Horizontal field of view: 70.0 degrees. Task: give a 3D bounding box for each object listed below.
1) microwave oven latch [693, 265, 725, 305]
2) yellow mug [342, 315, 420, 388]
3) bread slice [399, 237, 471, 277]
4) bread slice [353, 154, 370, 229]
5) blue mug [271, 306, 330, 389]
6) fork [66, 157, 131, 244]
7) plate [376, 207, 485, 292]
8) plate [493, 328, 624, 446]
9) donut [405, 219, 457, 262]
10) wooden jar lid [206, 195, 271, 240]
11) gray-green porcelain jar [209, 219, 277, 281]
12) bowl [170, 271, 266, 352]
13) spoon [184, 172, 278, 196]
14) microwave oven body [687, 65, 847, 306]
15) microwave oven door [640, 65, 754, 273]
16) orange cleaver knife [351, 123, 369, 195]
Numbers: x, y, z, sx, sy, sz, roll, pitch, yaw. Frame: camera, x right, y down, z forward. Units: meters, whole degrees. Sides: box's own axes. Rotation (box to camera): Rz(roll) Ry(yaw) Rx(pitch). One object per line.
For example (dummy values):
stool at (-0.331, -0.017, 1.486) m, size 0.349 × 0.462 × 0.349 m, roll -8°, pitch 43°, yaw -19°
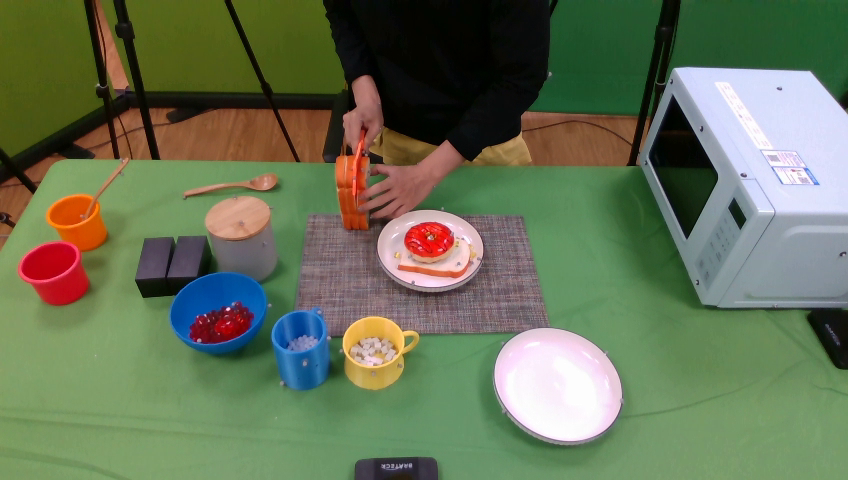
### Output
microwave oven latch at (0.523, 0.081, 1.115) m, size 0.030 × 0.029 × 0.078 m, roll 2°, pitch 46°, yaw -1°
yellow mug at (-0.068, 0.177, 0.990) m, size 0.131 × 0.064 × 0.099 m, roll -15°, pitch 50°, yaw -19°
bread slice at (0.025, 0.025, 1.161) m, size 0.131 × 0.019 × 0.104 m, roll 7°, pitch 47°, yaw 7°
bread slice at (-0.124, -0.102, 1.208) m, size 0.018 × 0.135 × 0.106 m, roll 7°, pitch 47°, yaw -4°
blue mug at (-0.188, 0.163, 0.969) m, size 0.082 × 0.106 × 0.116 m, roll 15°, pitch 47°, yaw 10°
fork at (-0.608, -0.074, 1.132) m, size 0.207 × 0.019 × 0.028 m, roll -52°, pitch 48°, yaw 10°
plate at (0.012, 0.021, 1.159) m, size 0.209 × 0.038 × 0.208 m, roll 2°, pitch 47°, yaw -2°
plate at (0.213, 0.236, 0.974) m, size 0.208 × 0.039 × 0.206 m, roll 2°, pitch 46°, yaw -2°
donut at (0.012, -0.001, 1.141) m, size 0.099 × 0.048 × 0.098 m, roll 0°, pitch 44°, yaw 0°
wooden jar lid at (-0.319, -0.036, 1.046) m, size 0.108 × 0.021 × 0.107 m, roll 1°, pitch 44°, yaw 0°
gray-green porcelain jar at (-0.323, 0.007, 1.092) m, size 0.106 × 0.127 × 0.105 m, roll 2°, pitch 46°, yaw -2°
bowl at (-0.334, 0.132, 1.006) m, size 0.151 × 0.077 × 0.150 m, roll 2°, pitch 46°, yaw -2°
spoon at (-0.405, -0.116, 1.275) m, size 0.194 × 0.022 × 0.041 m, roll -8°, pitch 66°, yaw -12°
microwave oven body at (0.669, -0.111, 1.176) m, size 0.326 × 0.261 × 0.439 m, roll 0°, pitch 46°, yaw -3°
microwave oven door at (0.523, -0.147, 1.193) m, size 0.039 × 0.245 × 0.353 m, roll 0°, pitch 47°, yaw -3°
orange cleaver knife at (-0.128, -0.165, 1.209) m, size 0.012 × 0.077 × 0.210 m, roll 7°, pitch 36°, yaw -3°
